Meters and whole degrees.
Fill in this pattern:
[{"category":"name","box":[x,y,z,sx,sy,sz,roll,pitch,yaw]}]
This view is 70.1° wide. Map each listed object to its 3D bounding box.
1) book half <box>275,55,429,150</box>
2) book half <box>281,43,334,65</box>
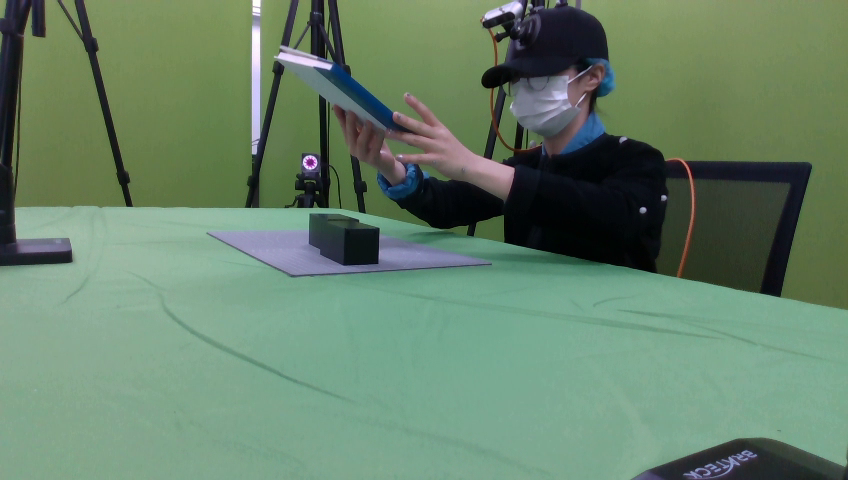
[{"category":"book half","box":[-0.102,-0.202,0.892,0.148,0.016,0.211,23,-7,43]},{"category":"book half","box":[-0.099,-0.215,0.894,0.142,0.007,0.211,33,2,44]}]
